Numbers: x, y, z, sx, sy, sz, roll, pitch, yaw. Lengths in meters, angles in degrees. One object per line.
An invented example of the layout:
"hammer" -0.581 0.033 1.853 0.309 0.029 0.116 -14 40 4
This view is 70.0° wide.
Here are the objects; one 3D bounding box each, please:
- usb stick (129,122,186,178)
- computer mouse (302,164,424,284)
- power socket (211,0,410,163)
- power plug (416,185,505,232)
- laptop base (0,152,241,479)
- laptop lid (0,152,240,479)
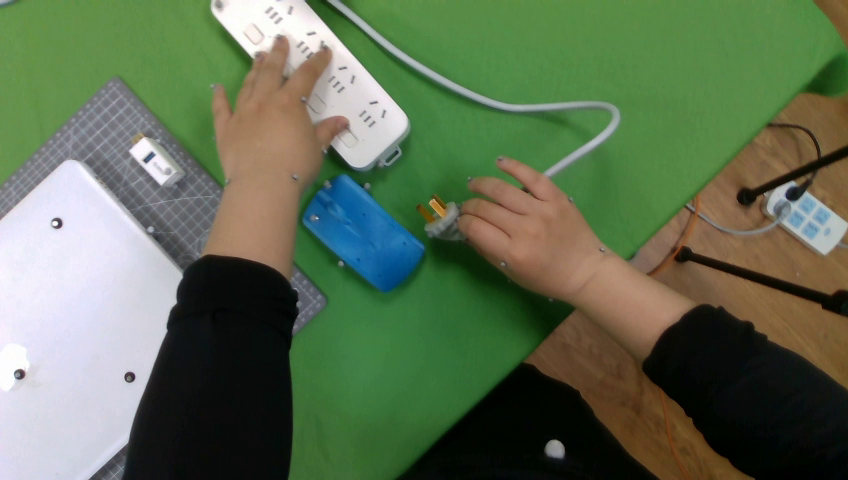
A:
"usb stick" -0.254 -0.086 0.568 0.021 0.027 0.059 -41 91 5
"computer mouse" -0.059 -0.015 0.566 0.117 0.041 0.063 43 95 4
"power socket" -0.104 -0.168 0.562 0.072 0.032 0.227 -42 91 4
"power plug" 0.030 -0.039 0.540 0.053 0.035 0.072 43 101 -7
"laptop base" -0.379 0.115 0.586 0.354 0.023 0.236 -43 95 2
"laptop lid" -0.377 0.117 0.574 0.356 0.013 0.242 -41 94 2
